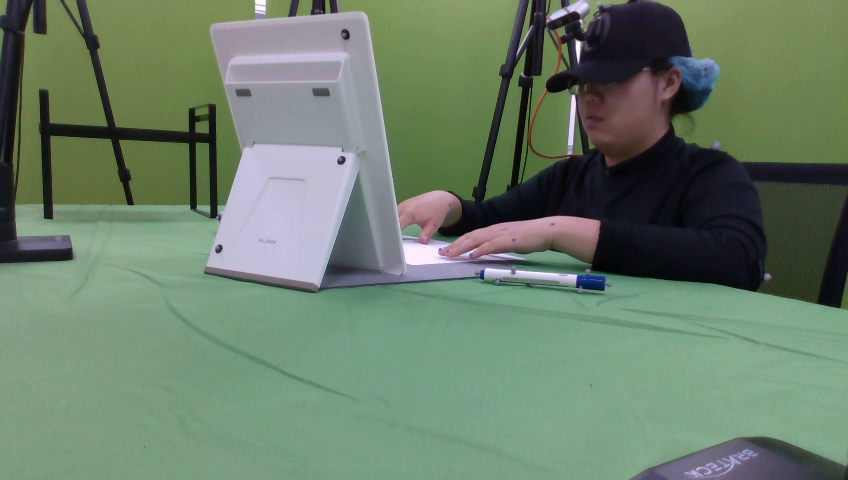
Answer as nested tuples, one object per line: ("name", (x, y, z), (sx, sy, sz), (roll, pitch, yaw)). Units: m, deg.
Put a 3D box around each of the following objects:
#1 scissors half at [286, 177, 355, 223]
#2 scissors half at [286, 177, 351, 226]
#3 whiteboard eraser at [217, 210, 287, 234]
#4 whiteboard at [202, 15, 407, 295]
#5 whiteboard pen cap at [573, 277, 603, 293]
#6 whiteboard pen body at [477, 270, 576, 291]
("scissors half", (-0.229, -0.090, 1.337), (0.175, 0.013, 0.040), (33, 13, -13))
("scissors half", (-0.232, -0.085, 1.317), (0.175, 0.013, 0.040), (37, 18, 5))
("whiteboard eraser", (-0.310, -0.034, 1.094), (0.113, 0.042, 0.055), (-2, 11, -38))
("whiteboard", (-0.167, -0.073, 0.668), (0.216, 0.305, 0.144), (7, 30, 28))
("whiteboard pen cap", (0.186, 0.051, 0.687), (0.033, 0.018, 0.018), (4, 7, 18))
("whiteboard pen body", (0.131, 0.048, 0.706), (0.140, 0.017, 0.017), (4, 8, 18))
